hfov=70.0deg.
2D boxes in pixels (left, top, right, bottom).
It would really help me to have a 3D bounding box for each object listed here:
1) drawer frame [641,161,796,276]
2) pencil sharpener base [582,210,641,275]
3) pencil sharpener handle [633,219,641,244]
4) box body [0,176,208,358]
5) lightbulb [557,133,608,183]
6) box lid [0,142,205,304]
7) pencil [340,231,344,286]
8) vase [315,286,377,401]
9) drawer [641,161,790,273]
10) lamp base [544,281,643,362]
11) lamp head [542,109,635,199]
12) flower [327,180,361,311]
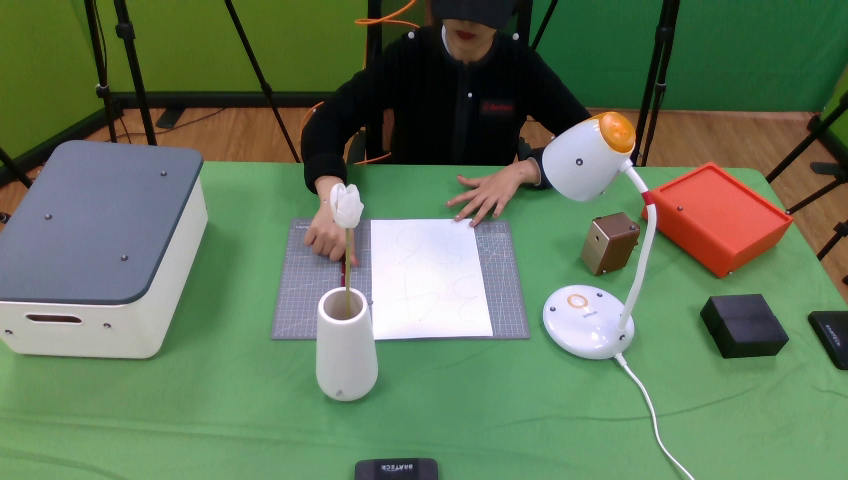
[{"bbox_3d":[0.599,-0.051,1.244,0.202,0.083,0.212,-24,52,-25],"label":"drawer frame"},{"bbox_3d":[0.357,0.005,1.156,0.077,0.107,0.061,-15,48,-18],"label":"pencil sharpener base"},{"bbox_3d":[0.405,-0.015,1.162,0.031,0.068,0.035,-15,45,-18],"label":"pencil sharpener handle"},{"bbox_3d":[-0.546,0.017,1.045,0.254,0.161,0.361,2,46,-2],"label":"box body"},{"bbox_3d":[0.243,-0.127,0.917,0.060,0.108,0.059,6,67,-14],"label":"lightbulb"},{"bbox_3d":[-0.534,-0.044,0.995,0.263,0.015,0.369,3,45,-3],"label":"box lid"},{"bbox_3d":[-0.154,0.044,1.148,0.012,0.012,0.192,-1,44,-5],"label":"pencil"},{"bbox_3d":[-0.119,0.159,0.911,0.098,0.201,0.097,2,47,-2],"label":"vase"},{"bbox_3d":[0.596,-0.051,1.246,0.194,0.073,0.210,-23,53,-25],"label":"drawer"},{"bbox_3d":[0.303,0.095,1.014,0.161,0.181,0.178,-24,54,-24],"label":"lamp base"},{"bbox_3d":[0.253,-0.131,0.893,0.113,0.123,0.112,10,66,-24],"label":"lamp head"},{"bbox_3d":[-0.111,0.086,0.867,0.044,0.363,0.038,22,33,36],"label":"flower"}]
